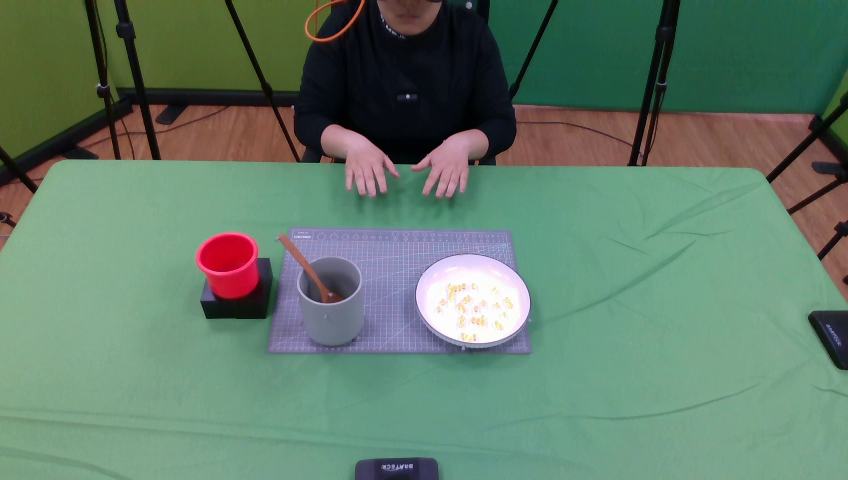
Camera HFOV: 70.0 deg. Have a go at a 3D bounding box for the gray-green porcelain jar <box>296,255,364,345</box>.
[{"bbox_3d":[-0.154,0.105,1.008,0.106,0.127,0.105,2,46,-2],"label":"gray-green porcelain jar"}]

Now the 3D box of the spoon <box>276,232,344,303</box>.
[{"bbox_3d":[-0.180,0.061,0.989,0.021,0.195,0.041,12,49,49],"label":"spoon"}]

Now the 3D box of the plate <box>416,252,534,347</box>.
[{"bbox_3d":[0.090,0.109,1.084,0.208,0.039,0.206,2,46,-2],"label":"plate"}]
